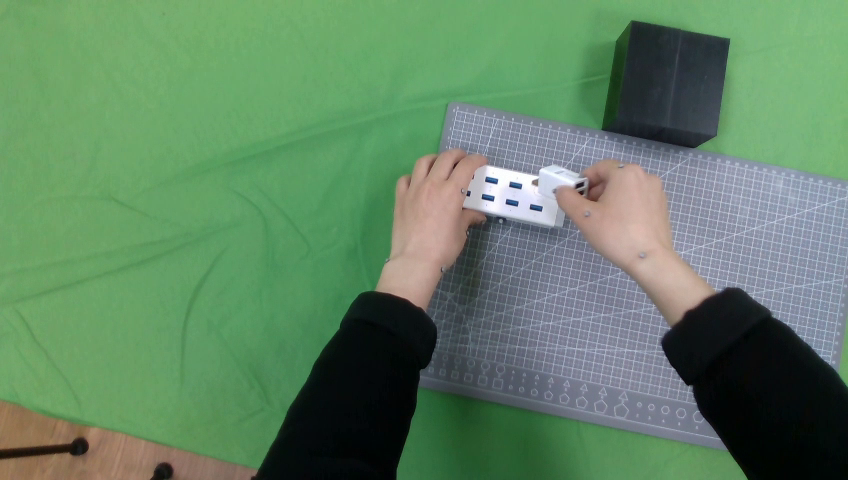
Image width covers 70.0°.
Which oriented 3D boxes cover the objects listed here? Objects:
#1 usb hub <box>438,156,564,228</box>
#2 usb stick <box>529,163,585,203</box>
[{"bbox_3d":[0.081,-0.050,0.624,0.125,0.025,0.049,13,86,0],"label":"usb hub"},{"bbox_3d":[0.122,-0.055,0.568,0.021,0.058,0.027,-19,117,-28],"label":"usb stick"}]
